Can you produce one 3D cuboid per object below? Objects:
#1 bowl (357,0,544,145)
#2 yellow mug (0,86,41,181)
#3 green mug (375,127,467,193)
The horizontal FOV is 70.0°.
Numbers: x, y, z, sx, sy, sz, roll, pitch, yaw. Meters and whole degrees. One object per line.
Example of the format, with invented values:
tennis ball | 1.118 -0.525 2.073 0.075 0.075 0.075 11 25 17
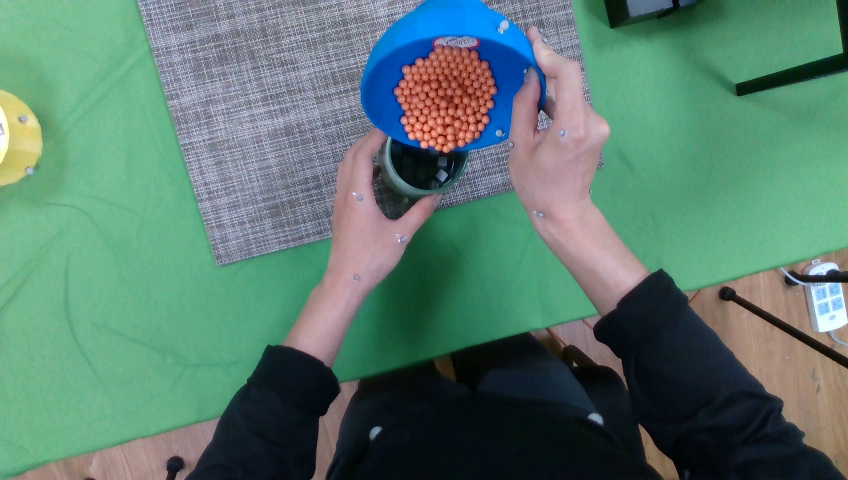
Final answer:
bowl | 0.022 -0.151 0.501 0.152 0.152 0.076 3 67 -7
yellow mug | -0.446 -0.091 0.588 0.100 0.064 0.131 18 94 -9
green mug | -0.003 -0.110 0.621 0.093 0.104 0.125 2 95 -7
